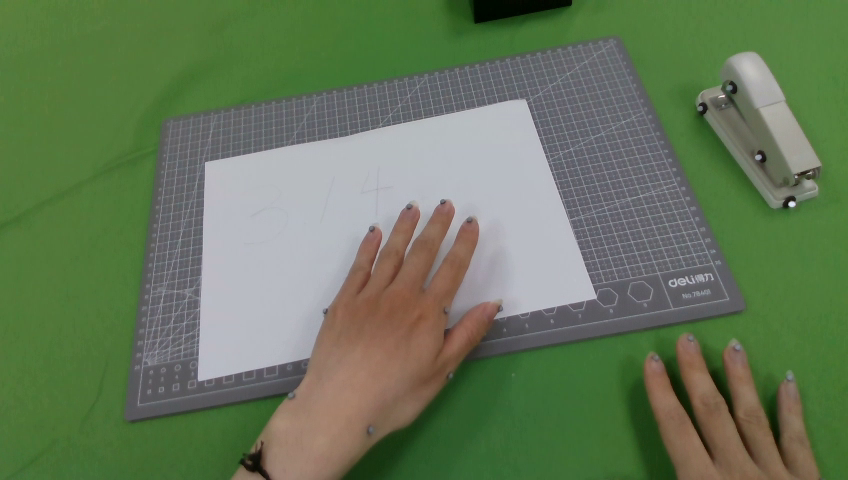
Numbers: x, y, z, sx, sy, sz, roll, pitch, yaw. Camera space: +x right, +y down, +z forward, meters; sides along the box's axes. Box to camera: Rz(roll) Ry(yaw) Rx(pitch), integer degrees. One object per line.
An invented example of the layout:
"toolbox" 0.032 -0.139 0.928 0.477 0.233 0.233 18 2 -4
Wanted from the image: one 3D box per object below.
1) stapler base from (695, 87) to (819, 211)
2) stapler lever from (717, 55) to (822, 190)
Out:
"stapler base" 0.271 -0.084 0.495 0.041 0.024 0.129 -18 59 0
"stapler lever" 0.268 -0.096 0.473 0.027 0.040 0.117 -18 59 0
